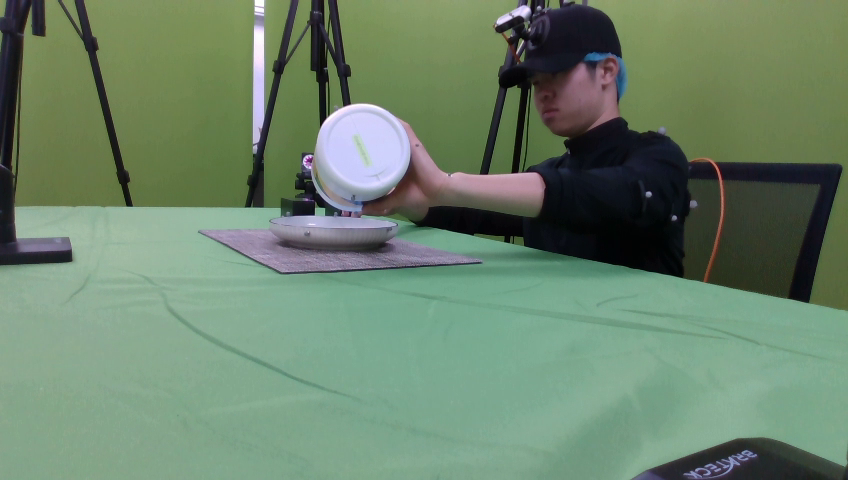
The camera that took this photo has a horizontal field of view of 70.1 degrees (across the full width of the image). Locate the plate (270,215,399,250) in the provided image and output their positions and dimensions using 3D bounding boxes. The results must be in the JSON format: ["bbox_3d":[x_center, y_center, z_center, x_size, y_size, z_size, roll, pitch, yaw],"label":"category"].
[{"bbox_3d":[-0.145,-0.013,0.992,0.208,0.039,0.207,2,7,0],"label":"plate"}]

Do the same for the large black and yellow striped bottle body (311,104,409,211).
[{"bbox_3d":[-0.103,-0.115,0.911,0.131,0.130,0.183,1,-7,-14],"label":"large black and yellow striped bottle body"}]

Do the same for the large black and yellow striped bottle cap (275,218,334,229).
[{"bbox_3d":[-0.236,-0.033,1.197,0.115,0.019,0.115,2,3,0],"label":"large black and yellow striped bottle cap"}]
